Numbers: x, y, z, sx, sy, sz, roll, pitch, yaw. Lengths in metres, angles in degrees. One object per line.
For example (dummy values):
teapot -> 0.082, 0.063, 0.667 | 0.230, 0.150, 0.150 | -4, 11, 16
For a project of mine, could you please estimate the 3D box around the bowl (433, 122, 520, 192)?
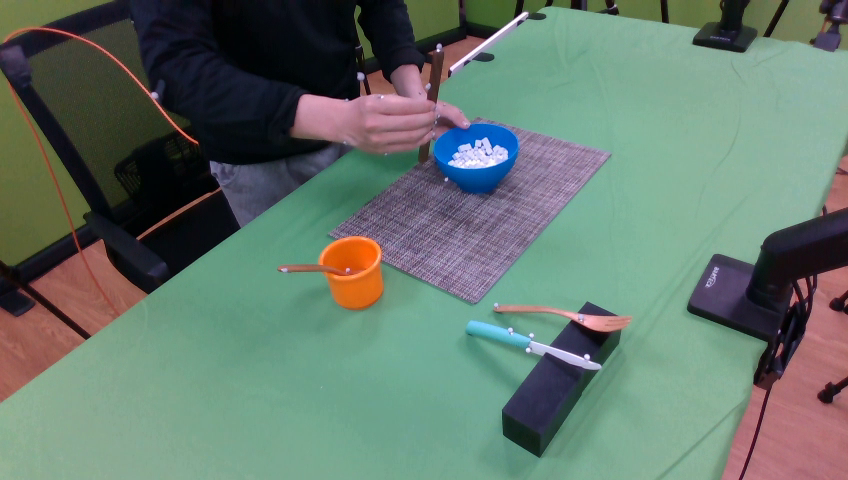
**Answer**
bowl -> 0.093, -0.137, 1.064 | 0.151, 0.077, 0.150 | -4, 41, 4

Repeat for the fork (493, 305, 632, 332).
fork -> 0.171, 0.097, 0.783 | 0.205, 0.019, 0.028 | 4, 41, 43

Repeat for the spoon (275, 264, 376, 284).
spoon -> -0.133, 0.044, 0.839 | 0.041, 0.195, 0.021 | 28, 96, 33

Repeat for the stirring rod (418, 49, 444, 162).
stirring rod -> 0.008, -0.166, 0.772 | 0.014, 0.176, 0.006 | -11, 53, -17

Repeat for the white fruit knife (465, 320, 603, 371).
white fruit knife -> 0.128, 0.129, 0.749 | 0.205, 0.027, 0.016 | 10, 45, 43
